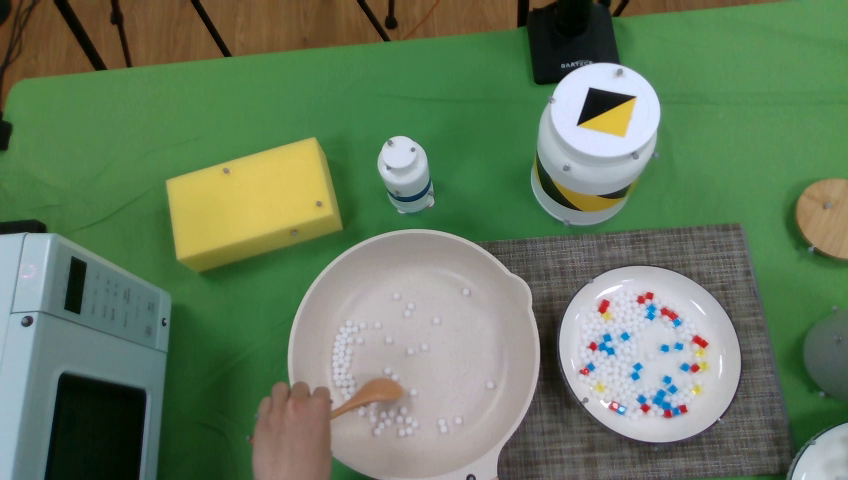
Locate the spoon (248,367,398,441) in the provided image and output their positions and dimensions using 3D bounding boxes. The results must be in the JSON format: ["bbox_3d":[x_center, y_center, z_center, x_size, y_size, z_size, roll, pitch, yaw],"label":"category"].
[{"bbox_3d":[-0.106,0.185,0.676,0.194,0.022,0.041,-17,55,-38],"label":"spoon"}]

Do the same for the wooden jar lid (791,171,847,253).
[{"bbox_3d":[0.517,-0.034,0.762,0.108,0.021,0.108,-1,73,5],"label":"wooden jar lid"}]

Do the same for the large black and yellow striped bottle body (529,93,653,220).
[{"bbox_3d":[0.198,-0.114,0.730,0.131,0.185,0.130,-2,71,5],"label":"large black and yellow striped bottle body"}]

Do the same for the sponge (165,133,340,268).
[{"bbox_3d":[-0.228,-0.052,0.812,0.207,0.061,0.117,-17,71,-1],"label":"sponge"}]

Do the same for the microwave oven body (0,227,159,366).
[{"bbox_3d":[-0.491,0.239,0.631,0.326,0.262,0.438,-4,72,3],"label":"microwave oven body"}]

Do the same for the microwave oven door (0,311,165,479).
[{"bbox_3d":[-0.346,0.267,0.603,0.039,0.245,0.353,-4,71,4],"label":"microwave oven door"}]

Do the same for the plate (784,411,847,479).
[{"bbox_3d":[0.491,0.288,0.650,0.207,0.039,0.206,-2,72,5],"label":"plate"}]

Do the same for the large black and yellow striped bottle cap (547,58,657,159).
[{"bbox_3d":[0.191,-0.143,0.651,0.115,0.019,0.114,-1,73,4],"label":"large black and yellow striped bottle cap"}]

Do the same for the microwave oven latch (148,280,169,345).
[{"bbox_3d":[-0.343,0.092,0.768,0.030,0.030,0.078,-3,72,4],"label":"microwave oven latch"}]

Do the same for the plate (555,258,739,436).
[{"bbox_3d":[0.259,0.124,0.720,0.209,0.038,0.208,-2,72,5],"label":"plate"}]

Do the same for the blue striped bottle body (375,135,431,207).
[{"bbox_3d":[-0.026,-0.091,0.775,0.063,0.121,0.062,-1,72,5],"label":"blue striped bottle body"}]

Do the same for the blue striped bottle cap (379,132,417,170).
[{"bbox_3d":[-0.031,-0.107,0.726,0.044,0.021,0.044,-2,69,6],"label":"blue striped bottle cap"}]

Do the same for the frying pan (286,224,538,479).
[{"bbox_3d":[0.030,0.208,0.678,0.307,0.103,0.483,-27,64,-3],"label":"frying pan"}]

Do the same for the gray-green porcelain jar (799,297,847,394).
[{"bbox_3d":[0.486,0.112,0.660,0.106,0.127,0.105,-1,71,5],"label":"gray-green porcelain jar"}]
